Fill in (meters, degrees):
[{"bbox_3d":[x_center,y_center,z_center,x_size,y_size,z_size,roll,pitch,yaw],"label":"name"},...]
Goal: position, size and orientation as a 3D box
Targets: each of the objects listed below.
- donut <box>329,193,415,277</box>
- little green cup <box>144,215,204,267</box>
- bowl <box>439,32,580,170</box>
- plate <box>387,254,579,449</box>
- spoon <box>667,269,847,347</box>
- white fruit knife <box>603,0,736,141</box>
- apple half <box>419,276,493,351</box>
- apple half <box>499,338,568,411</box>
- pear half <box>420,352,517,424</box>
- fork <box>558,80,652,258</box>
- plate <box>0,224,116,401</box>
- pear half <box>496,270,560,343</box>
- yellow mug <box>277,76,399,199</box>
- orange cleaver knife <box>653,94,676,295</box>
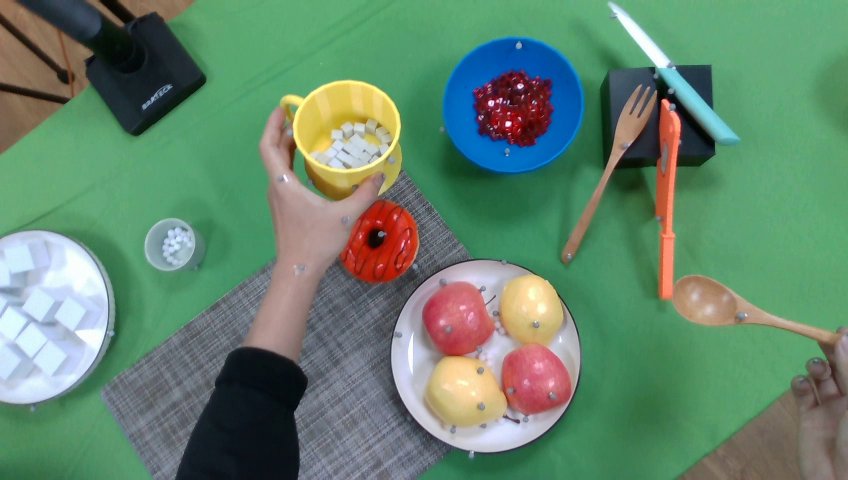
[{"bbox_3d":[-0.059,-0.005,0.691,0.099,0.048,0.099,0,86,6],"label":"donut"},{"bbox_3d":[-0.294,0.004,0.719,0.061,0.039,0.061,-1,83,6],"label":"little green cup"},{"bbox_3d":[0.094,-0.144,0.680,0.151,0.077,0.151,0,84,5],"label":"bowl"},{"bbox_3d":[0.064,0.120,0.668,0.209,0.038,0.208,-1,83,5],"label":"plate"},{"bbox_3d":[0.295,0.067,0.489,0.192,0.022,0.041,18,78,20],"label":"spoon"},{"bbox_3d":[0.258,-0.185,0.650,0.027,0.016,0.206,-31,78,-28],"label":"white fruit knife"},{"bbox_3d":[0.033,0.082,0.658,0.074,0.053,0.080,-20,86,3],"label":"apple half"},{"bbox_3d":[0.109,0.146,0.644,0.081,0.033,0.081,2,96,25],"label":"apple half"},{"bbox_3d":[0.053,0.167,0.650,0.110,0.056,0.076,25,91,4],"label":"pear half"},{"bbox_3d":[0.191,-0.071,0.657,0.028,0.018,0.208,21,106,-2],"label":"fork"},{"bbox_3d":[-0.464,0.085,0.726,0.207,0.039,0.207,-1,83,6],"label":"plate"},{"bbox_3d":[0.109,0.078,0.654,0.070,0.031,0.088,-8,93,28],"label":"pear half"},{"bbox_3d":[-0.089,-0.106,0.591,0.130,0.064,0.099,28,71,9],"label":"yellow mug"},{"bbox_3d":[0.255,-0.046,0.651,0.012,0.077,0.212,-2,109,10],"label":"orange cleaver knife"}]
